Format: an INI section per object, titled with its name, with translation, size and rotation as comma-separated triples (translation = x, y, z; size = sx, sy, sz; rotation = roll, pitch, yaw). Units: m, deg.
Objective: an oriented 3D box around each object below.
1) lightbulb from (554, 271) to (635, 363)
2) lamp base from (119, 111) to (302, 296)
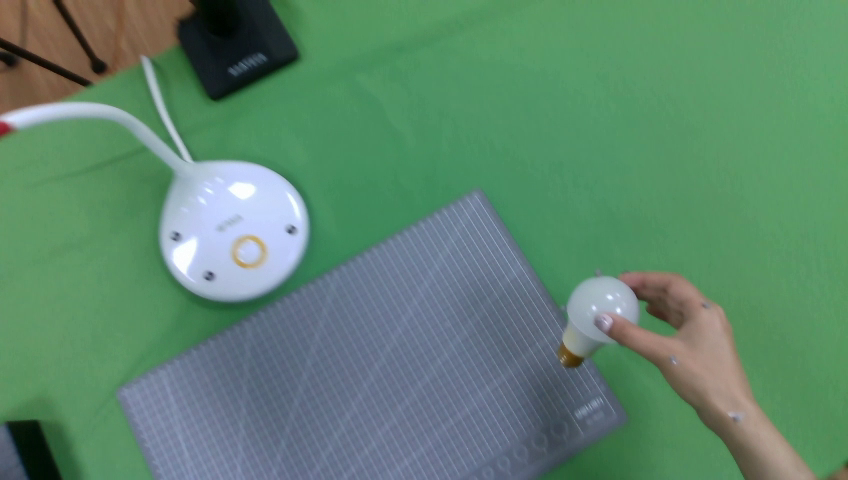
[lightbulb]
translation = 0.148, 0.074, 0.548
size = 0.060, 0.108, 0.059
rotation = 12, 40, -10
[lamp base]
translation = -0.227, -0.044, 0.599
size = 0.160, 0.181, 0.178
rotation = -43, 77, -9
